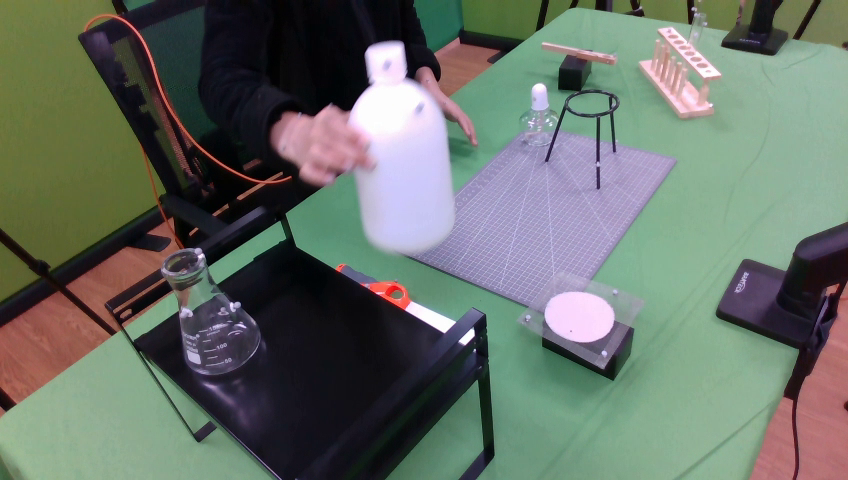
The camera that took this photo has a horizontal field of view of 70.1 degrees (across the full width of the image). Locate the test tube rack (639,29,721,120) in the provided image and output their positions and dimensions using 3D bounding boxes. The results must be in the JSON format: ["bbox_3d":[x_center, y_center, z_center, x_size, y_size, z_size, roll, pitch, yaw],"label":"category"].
[{"bbox_3d":[0.527,-0.351,1.262,0.067,0.085,0.241,-8,40,1],"label":"test tube rack"}]

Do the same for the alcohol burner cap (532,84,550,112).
[{"bbox_3d":[0.218,-0.269,1.133,0.034,0.048,0.033,-8,36,7],"label":"alcohol burner cap"}]

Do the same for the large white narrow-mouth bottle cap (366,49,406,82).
[{"bbox_3d":[-0.036,-0.166,0.574,0.038,0.024,0.037,-5,31,4],"label":"large white narrow-mouth bottle cap"}]

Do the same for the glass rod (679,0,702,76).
[{"bbox_3d":[0.543,-0.417,1.233,0.008,0.200,0.008,1,40,0],"label":"glass rod"}]

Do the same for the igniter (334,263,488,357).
[{"bbox_3d":[-0.030,0.095,0.872,0.274,0.025,0.057,23,60,31],"label":"igniter"}]

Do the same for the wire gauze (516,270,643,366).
[{"bbox_3d":[0.200,0.093,0.777,0.124,0.011,0.122,23,49,32],"label":"wire gauze"}]

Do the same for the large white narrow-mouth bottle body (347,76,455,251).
[{"bbox_3d":[-0.026,-0.092,0.621,0.102,0.195,0.101,-6,31,4],"label":"large white narrow-mouth bottle body"}]

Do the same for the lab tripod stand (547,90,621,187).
[{"bbox_3d":[0.288,-0.184,1.062,0.148,0.132,0.147,-6,41,6],"label":"lab tripod stand"}]

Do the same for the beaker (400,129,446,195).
[{"bbox_3d":[0.004,-0.139,1.087,0.084,0.101,0.073,-20,42,-14],"label":"beaker"}]

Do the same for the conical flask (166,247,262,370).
[{"bbox_3d":[-0.209,0.064,0.584,0.075,0.122,0.075,-5,41,4],"label":"conical flask"}]

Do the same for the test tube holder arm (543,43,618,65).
[{"bbox_3d":[0.344,-0.413,1.340,0.177,0.015,0.013,25,51,31],"label":"test tube holder arm"}]

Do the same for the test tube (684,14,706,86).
[{"bbox_3d":[0.540,-0.378,1.215,0.017,0.151,0.017,-2,44,3],"label":"test tube"}]

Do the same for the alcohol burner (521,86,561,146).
[{"bbox_3d":[0.223,-0.241,1.155,0.078,0.119,0.077,-5,43,5],"label":"alcohol burner"}]

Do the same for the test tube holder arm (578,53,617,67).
[{"bbox_3d":[0.376,-0.393,1.314,0.087,0.015,0.010,26,51,32],"label":"test tube holder arm"}]
